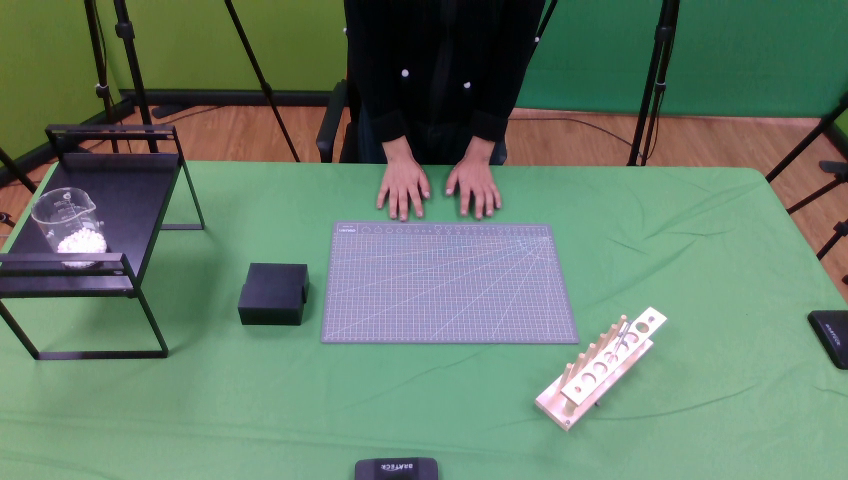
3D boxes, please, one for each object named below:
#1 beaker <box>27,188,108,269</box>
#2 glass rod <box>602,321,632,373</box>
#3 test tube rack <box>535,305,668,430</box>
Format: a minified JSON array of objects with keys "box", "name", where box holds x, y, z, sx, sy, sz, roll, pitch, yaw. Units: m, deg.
[{"box":[-0.502,-0.014,0.869,0.084,0.101,0.073,-3,47,-7],"name":"beaker"},{"box":[0.286,0.173,0.913,0.008,0.201,0.008,-1,53,1],"name":"glass rod"},{"box":[0.290,0.193,0.984,0.242,0.085,0.066,-33,57,-30],"name":"test tube rack"}]
